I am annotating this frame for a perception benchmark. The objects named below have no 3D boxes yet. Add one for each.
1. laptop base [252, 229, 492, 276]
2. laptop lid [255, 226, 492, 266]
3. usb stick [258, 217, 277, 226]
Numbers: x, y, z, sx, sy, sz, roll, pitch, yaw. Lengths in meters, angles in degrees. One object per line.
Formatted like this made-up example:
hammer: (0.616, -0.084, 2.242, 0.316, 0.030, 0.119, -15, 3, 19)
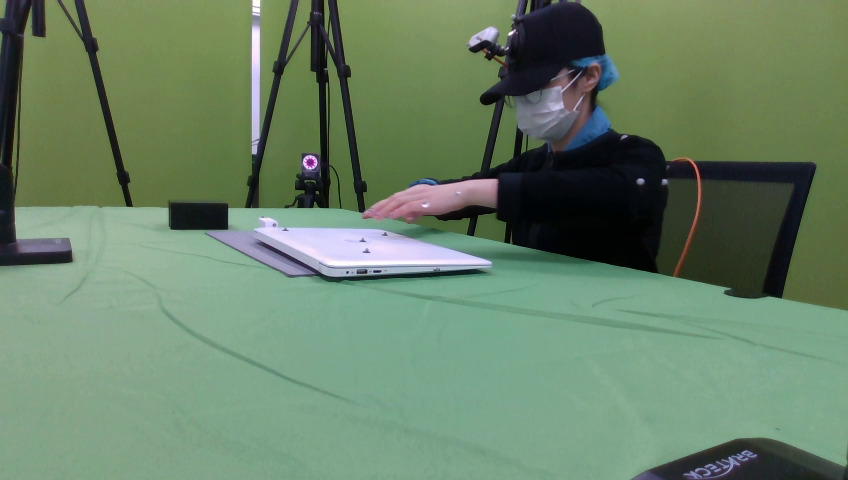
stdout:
laptop base: (-0.094, 0.015, 0.889, 0.237, 0.023, 0.352, 2, 7, -30)
laptop lid: (-0.092, 0.004, 0.888, 0.243, 0.013, 0.355, 1, 8, -28)
usb stick: (-0.261, -0.022, 1.016, 0.021, 0.027, 0.059, 0, 13, -29)
